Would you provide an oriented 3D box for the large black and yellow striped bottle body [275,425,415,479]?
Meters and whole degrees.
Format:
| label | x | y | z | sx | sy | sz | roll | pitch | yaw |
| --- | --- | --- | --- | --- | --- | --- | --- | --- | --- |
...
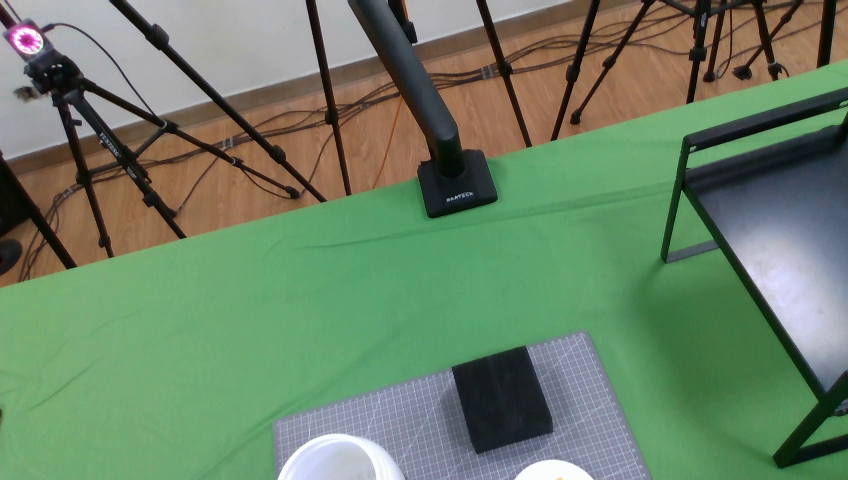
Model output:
| label | x | y | z | sx | sy | sz | roll | pitch | yaw |
| --- | --- | --- | --- | --- | --- | --- | --- | --- | --- |
| large black and yellow striped bottle body | -0.078 | 0.285 | 0.663 | 0.130 | 0.186 | 0.129 | -6 | 54 | 9 |

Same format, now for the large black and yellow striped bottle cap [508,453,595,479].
| label | x | y | z | sx | sy | sz | roll | pitch | yaw |
| --- | --- | --- | --- | --- | --- | --- | --- | --- | --- |
| large black and yellow striped bottle cap | 0.148 | 0.306 | 0.702 | 0.115 | 0.019 | 0.114 | -6 | 54 | 8 |
